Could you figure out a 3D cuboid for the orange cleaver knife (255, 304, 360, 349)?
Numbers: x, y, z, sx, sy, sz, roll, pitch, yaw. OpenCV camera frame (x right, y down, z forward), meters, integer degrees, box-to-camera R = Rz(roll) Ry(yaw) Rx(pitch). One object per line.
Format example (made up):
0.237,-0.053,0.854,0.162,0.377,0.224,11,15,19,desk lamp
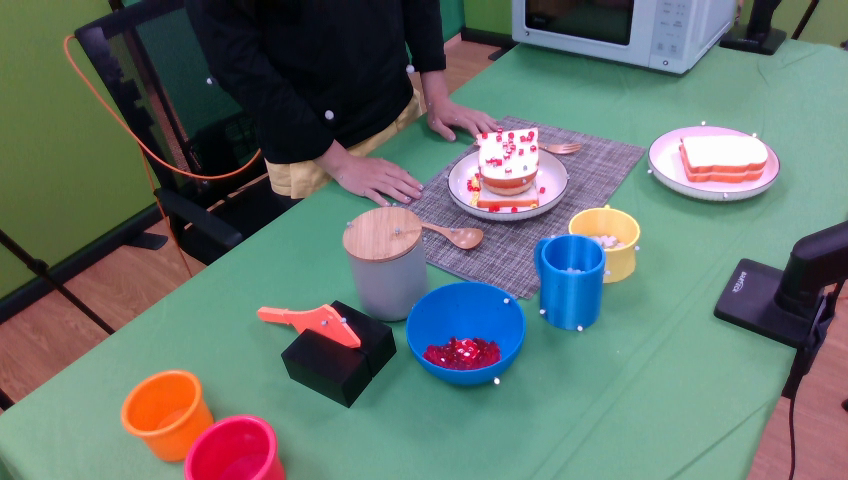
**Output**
-0.161,0.115,0.813,0.210,0.077,0.012,-4,32,47,orange cleaver knife

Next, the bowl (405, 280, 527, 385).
0.055,0.131,0.767,0.151,0.077,0.150,-4,40,4,bowl

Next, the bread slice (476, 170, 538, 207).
0.144,-0.104,1.058,0.105,0.019,0.131,0,44,6,bread slice

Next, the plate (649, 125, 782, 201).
0.493,-0.128,1.036,0.207,0.039,0.206,-4,41,4,plate

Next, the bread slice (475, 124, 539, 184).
0.143,-0.144,1.009,0.107,0.018,0.133,-7,46,7,bread slice

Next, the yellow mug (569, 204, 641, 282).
0.268,-0.005,0.904,0.099,0.064,0.130,7,41,15,yellow mug

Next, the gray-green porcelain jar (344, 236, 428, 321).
-0.049,0.042,0.849,0.106,0.127,0.105,-4,41,4,gray-green porcelain jar

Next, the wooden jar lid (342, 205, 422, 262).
-0.055,-0.006,0.808,0.108,0.021,0.108,-6,40,6,wooden jar lid

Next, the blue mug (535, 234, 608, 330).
0.191,0.048,0.824,0.082,0.106,0.115,-26,44,-21,blue mug

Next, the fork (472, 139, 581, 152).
0.193,-0.184,1.153,0.206,0.019,0.028,7,51,14,fork

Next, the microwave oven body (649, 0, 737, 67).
0.475,-0.602,1.411,0.438,0.261,0.327,23,50,32,microwave oven body

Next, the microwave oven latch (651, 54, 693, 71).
0.532,-0.386,1.301,0.078,0.029,0.030,27,52,34,microwave oven latch

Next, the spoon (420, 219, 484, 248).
0.010,-0.022,0.989,0.192,0.022,0.041,17,67,25,spoon

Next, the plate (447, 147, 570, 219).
0.145,-0.098,1.046,0.209,0.038,0.208,-4,40,4,plate

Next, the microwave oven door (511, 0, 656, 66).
0.351,-0.539,1.349,0.353,0.245,0.039,24,50,31,microwave oven door
